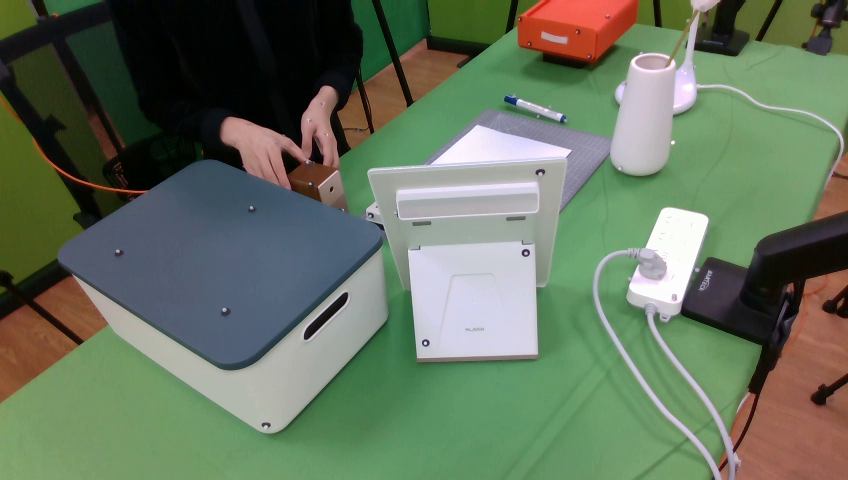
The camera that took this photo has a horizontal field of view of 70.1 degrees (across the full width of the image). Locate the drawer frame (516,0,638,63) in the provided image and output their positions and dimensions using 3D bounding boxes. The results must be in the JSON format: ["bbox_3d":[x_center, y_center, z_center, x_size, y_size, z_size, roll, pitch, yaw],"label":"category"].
[{"bbox_3d":[0.355,-0.508,1.410,0.200,0.083,0.214,23,51,32],"label":"drawer frame"}]

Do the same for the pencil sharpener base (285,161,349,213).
[{"bbox_3d":[-0.180,-0.071,1.019,0.076,0.107,0.061,17,46,26],"label":"pencil sharpener base"}]

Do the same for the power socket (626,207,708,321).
[{"bbox_3d":[0.359,0.025,0.886,0.072,0.033,0.227,16,46,26],"label":"power socket"}]

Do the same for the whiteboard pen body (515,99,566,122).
[{"bbox_3d":[0.234,-0.274,1.262,0.139,0.017,0.017,28,51,29],"label":"whiteboard pen body"}]

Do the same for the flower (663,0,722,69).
[{"bbox_3d":[0.379,-0.261,0.965,0.044,0.362,0.038,20,53,5],"label":"flower"}]

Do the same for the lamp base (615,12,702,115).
[{"bbox_3d":[0.484,-0.363,1.211,0.180,0.181,0.159,-15,41,-13],"label":"lamp base"}]

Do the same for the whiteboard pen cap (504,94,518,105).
[{"bbox_3d":[0.190,-0.299,1.292,0.033,0.018,0.018,30,52,28],"label":"whiteboard pen cap"}]

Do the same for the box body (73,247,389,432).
[{"bbox_3d":[-0.255,0.065,0.827,0.361,0.161,0.255,21,48,29],"label":"box body"}]

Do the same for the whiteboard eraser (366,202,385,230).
[{"bbox_3d":[-0.037,-0.038,1.006,0.112,0.042,0.055,16,48,25],"label":"whiteboard eraser"}]

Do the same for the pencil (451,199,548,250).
[{"bbox_3d":[0.125,-0.025,0.994,0.195,0.012,0.012,-26,44,-19],"label":"pencil"}]

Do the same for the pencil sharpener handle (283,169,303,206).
[{"bbox_3d":[-0.228,-0.091,1.029,0.030,0.068,0.036,17,29,26],"label":"pencil sharpener handle"}]

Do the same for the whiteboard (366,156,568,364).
[{"bbox_3d":[0.059,0.050,0.738,0.217,0.307,0.143,-2,60,6],"label":"whiteboard"}]

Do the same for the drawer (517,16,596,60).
[{"bbox_3d":[0.353,-0.506,1.405,0.193,0.073,0.212,23,49,32],"label":"drawer"}]

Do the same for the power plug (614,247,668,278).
[{"bbox_3d":[0.306,0.031,0.851,0.072,0.053,0.035,24,49,33],"label":"power plug"}]

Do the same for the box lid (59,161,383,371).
[{"bbox_3d":[-0.262,0.009,0.777,0.369,0.015,0.264,21,48,29],"label":"box lid"}]

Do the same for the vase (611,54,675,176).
[{"bbox_3d":[0.377,-0.209,1.031,0.098,0.201,0.097,-3,40,3],"label":"vase"}]
